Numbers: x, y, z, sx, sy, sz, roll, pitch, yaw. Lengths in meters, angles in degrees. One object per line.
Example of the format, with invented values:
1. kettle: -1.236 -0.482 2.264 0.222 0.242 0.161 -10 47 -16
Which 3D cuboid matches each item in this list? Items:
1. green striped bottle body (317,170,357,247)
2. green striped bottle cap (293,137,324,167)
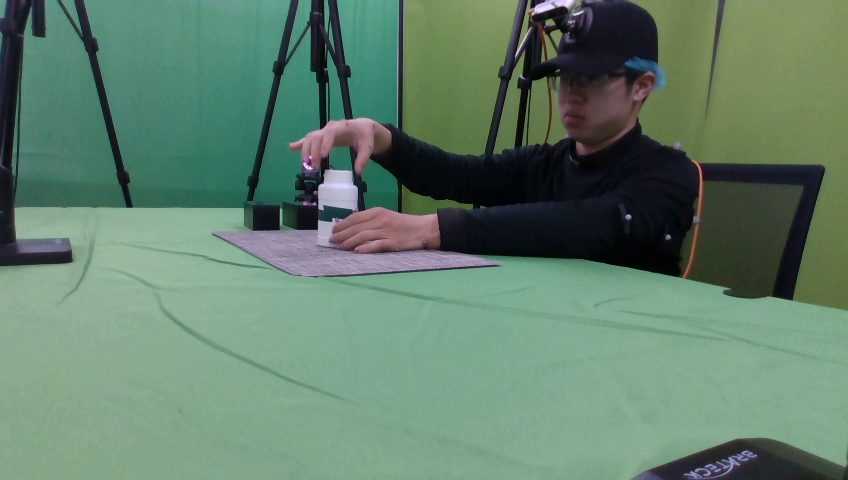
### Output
1. green striped bottle body: -0.139 -0.051 0.964 0.063 0.119 0.063 2 7 0
2. green striped bottle cap: -0.174 -0.133 0.919 0.044 0.044 0.020 4 -7 9
